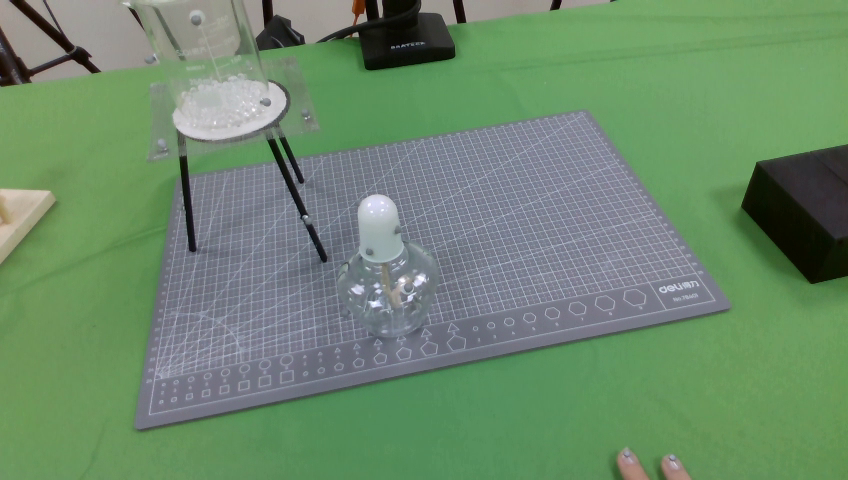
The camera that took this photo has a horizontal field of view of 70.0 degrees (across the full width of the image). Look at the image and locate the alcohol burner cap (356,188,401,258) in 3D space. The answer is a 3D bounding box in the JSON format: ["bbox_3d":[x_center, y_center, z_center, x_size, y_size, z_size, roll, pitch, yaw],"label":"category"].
[{"bbox_3d":[-0.033,-0.014,0.421,0.034,0.048,0.033,-1,41,1],"label":"alcohol burner cap"}]

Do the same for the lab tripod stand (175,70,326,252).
[{"bbox_3d":[-0.149,-0.063,0.519,0.148,0.133,0.147,-3,46,3],"label":"lab tripod stand"}]

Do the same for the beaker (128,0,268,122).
[{"bbox_3d":[-0.161,-0.143,0.438,0.084,0.101,0.073,-15,45,-8],"label":"beaker"}]

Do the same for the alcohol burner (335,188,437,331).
[{"bbox_3d":[-0.030,0.011,0.447,0.078,0.120,0.077,-3,43,3],"label":"alcohol burner"}]

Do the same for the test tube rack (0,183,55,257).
[{"bbox_3d":[-0.432,0.005,0.515,0.066,0.086,0.240,3,45,8],"label":"test tube rack"}]

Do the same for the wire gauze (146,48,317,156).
[{"bbox_3d":[-0.153,-0.109,0.473,0.125,0.011,0.120,-16,44,-7],"label":"wire gauze"}]
